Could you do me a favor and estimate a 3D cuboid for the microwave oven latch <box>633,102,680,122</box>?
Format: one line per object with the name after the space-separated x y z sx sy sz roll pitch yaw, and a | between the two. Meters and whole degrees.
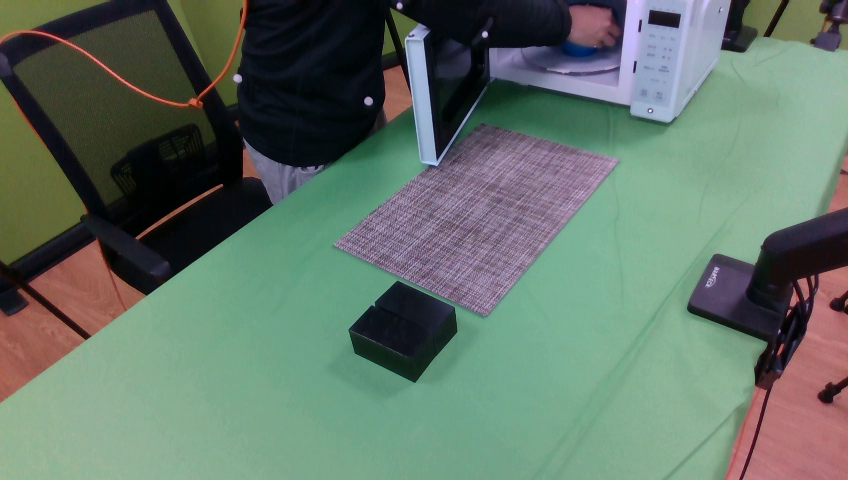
0.444 -0.249 1.157 0.078 0.029 0.030 22 49 30 | microwave oven latch

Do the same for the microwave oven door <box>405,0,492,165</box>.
0.059 -0.343 1.166 0.039 0.245 0.355 10 43 20 | microwave oven door

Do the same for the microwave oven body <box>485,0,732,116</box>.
0.377 -0.463 1.267 0.438 0.261 0.327 21 49 30 | microwave oven body
